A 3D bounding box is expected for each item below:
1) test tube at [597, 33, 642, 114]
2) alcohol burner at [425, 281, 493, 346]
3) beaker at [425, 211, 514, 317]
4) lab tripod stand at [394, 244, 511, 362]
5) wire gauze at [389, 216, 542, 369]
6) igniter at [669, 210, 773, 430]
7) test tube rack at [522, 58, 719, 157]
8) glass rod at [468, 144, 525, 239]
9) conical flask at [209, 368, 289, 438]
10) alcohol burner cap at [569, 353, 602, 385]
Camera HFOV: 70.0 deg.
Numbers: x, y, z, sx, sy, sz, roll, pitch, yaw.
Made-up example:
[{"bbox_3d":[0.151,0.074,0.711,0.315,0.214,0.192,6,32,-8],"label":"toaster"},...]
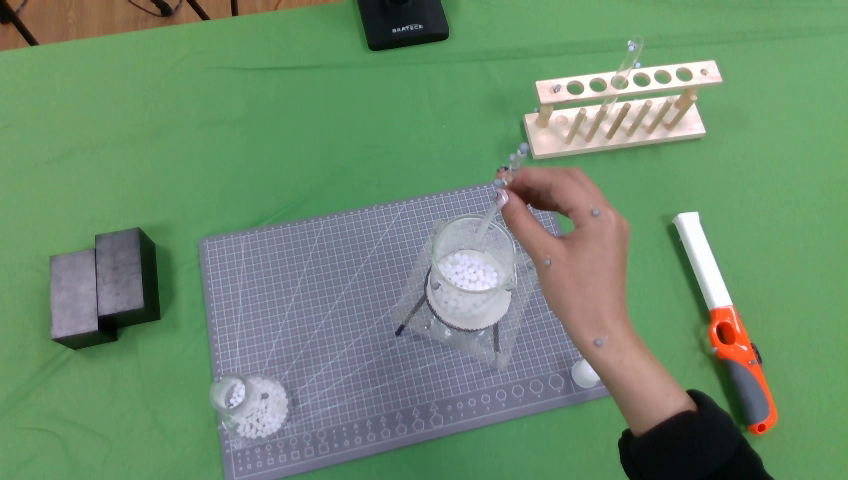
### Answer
[{"bbox_3d":[0.244,-0.205,0.765,0.017,0.151,0.017,0,68,0],"label":"test tube"},{"bbox_3d":[0.040,0.078,0.678,0.078,0.120,0.077,0,69,-1],"label":"alcohol burner"},{"bbox_3d":[0.042,0.028,0.564,0.083,0.101,0.074,35,72,11],"label":"beaker"},{"bbox_3d":[0.038,0.071,0.670,0.148,0.132,0.147,1,70,-1],"label":"lab tripod stand"},{"bbox_3d":[0.043,0.048,0.608,0.125,0.011,0.121,24,72,5],"label":"wire gauze"},{"bbox_3d":[0.361,0.090,0.739,0.057,0.025,0.274,-6,68,-17],"label":"igniter"},{"bbox_3d":[0.261,-0.176,0.808,0.243,0.086,0.066,-8,69,-6],"label":"test tube rack"},{"bbox_3d":[0.052,-0.031,0.473,0.008,0.200,0.008,1,74,-5],"label":"glass rod"},{"bbox_3d":[-0.187,0.163,0.628,0.075,0.122,0.075,1,68,-2],"label":"conical flask"},{"bbox_3d":[0.188,0.146,0.697,0.034,0.048,0.033,1,67,-2],"label":"alcohol burner cap"}]
